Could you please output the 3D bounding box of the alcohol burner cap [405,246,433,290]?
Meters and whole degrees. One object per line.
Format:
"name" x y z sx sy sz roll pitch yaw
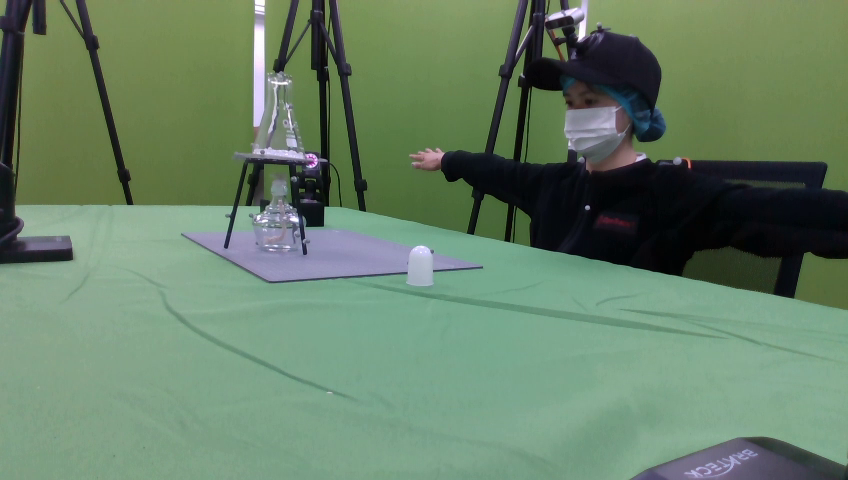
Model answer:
"alcohol burner cap" -0.005 0.031 0.698 0.034 0.048 0.034 3 8 0

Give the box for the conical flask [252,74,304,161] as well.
"conical flask" -0.211 -0.177 0.879 0.075 0.122 0.075 3 6 0

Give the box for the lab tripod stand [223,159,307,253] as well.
"lab tripod stand" -0.220 -0.053 0.896 0.148 0.131 0.148 1 6 0

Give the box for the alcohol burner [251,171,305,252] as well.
"alcohol burner" -0.214 -0.042 0.888 0.078 0.119 0.078 2 9 0

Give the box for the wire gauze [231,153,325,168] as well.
"wire gauze" -0.215 -0.117 0.882 0.125 0.011 0.121 3 7 -19
